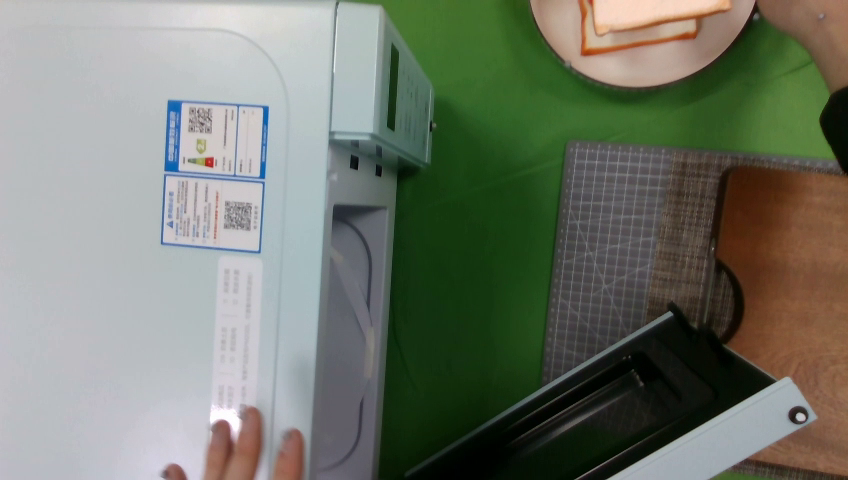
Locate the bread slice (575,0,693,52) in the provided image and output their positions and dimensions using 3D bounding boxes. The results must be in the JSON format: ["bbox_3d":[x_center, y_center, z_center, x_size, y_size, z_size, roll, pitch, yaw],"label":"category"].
[{"bbox_3d":[0.187,-0.247,0.561,0.105,0.019,0.131,-8,93,7],"label":"bread slice"}]

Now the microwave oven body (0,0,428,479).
[{"bbox_3d":[-0.182,0.051,0.517,0.325,0.260,0.442,4,95,7],"label":"microwave oven body"}]

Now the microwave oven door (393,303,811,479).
[{"bbox_3d":[0.085,0.179,0.482,0.356,0.244,0.039,-35,88,9],"label":"microwave oven door"}]

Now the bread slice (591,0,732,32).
[{"bbox_3d":[0.183,-0.244,0.502,0.107,0.018,0.134,-11,86,10],"label":"bread slice"}]

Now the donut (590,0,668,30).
[{"bbox_3d":[0.190,-0.237,0.531,0.099,0.048,0.099,0,99,2],"label":"donut"}]

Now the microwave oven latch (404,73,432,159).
[{"bbox_3d":[-0.008,-0.118,0.578,0.030,0.029,0.079,5,95,8],"label":"microwave oven latch"}]

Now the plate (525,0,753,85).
[{"bbox_3d":[0.194,-0.246,0.559,0.207,0.039,0.207,0,93,9],"label":"plate"}]
